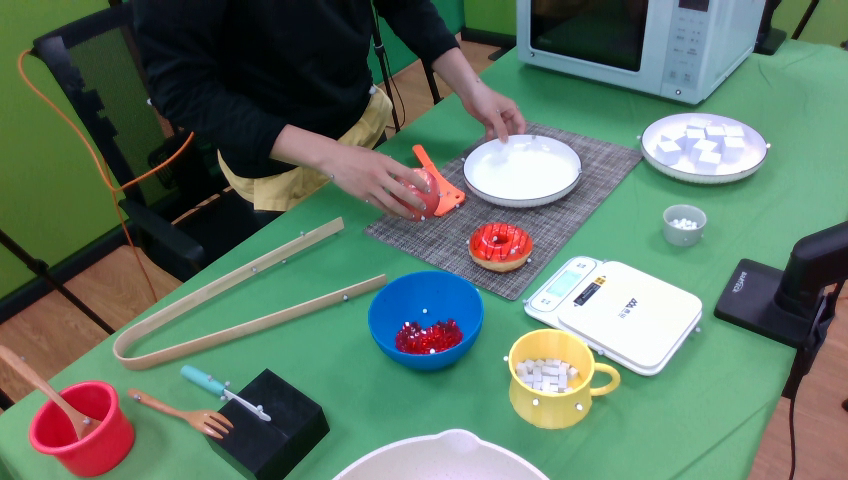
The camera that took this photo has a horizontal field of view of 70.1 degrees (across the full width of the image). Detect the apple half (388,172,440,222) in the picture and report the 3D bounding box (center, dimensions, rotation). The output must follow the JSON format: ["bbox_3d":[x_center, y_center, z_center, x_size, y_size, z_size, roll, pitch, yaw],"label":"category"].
[{"bbox_3d":[-0.013,-0.061,0.942,0.081,0.075,0.053,-7,47,-5],"label":"apple half"}]

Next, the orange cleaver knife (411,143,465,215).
[{"bbox_3d":[0.005,-0.113,1.102,0.077,0.012,0.209,-24,45,-9],"label":"orange cleaver knife"}]

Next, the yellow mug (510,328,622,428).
[{"bbox_3d":[0.168,0.164,0.722,0.130,0.064,0.099,0,40,8],"label":"yellow mug"}]

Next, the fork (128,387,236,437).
[{"bbox_3d":[-0.305,0.207,0.744,0.206,0.019,0.028,3,41,36],"label":"fork"}]

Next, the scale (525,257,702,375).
[{"bbox_3d":[0.254,0.091,0.821,0.199,0.032,0.149,28,51,35],"label":"scale"}]

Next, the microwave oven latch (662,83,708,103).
[{"bbox_3d":[0.517,-0.296,1.204,0.078,0.029,0.030,28,52,35],"label":"microwave oven latch"}]

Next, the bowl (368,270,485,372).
[{"bbox_3d":[0.007,0.118,0.791,0.151,0.077,0.150,-5,40,4],"label":"bowl"}]

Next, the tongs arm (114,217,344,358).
[{"bbox_3d":[-0.280,0.067,0.926,0.386,0.026,0.050,-29,49,-23],"label":"tongs arm"}]

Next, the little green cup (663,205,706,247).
[{"bbox_3d":[0.396,-0.020,0.926,0.061,0.039,0.061,-4,40,4],"label":"little green cup"}]

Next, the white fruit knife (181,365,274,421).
[{"bbox_3d":[-0.245,0.187,0.747,0.205,0.027,0.016,9,41,40],"label":"white fruit knife"}]

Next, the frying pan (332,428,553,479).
[{"bbox_3d":[-0.089,0.306,0.564,0.487,0.103,0.306,10,41,7],"label":"frying pan"}]

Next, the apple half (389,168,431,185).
[{"bbox_3d":[-0.019,-0.088,0.969,0.081,0.081,0.032,-9,48,-2],"label":"apple half"}]

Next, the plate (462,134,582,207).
[{"bbox_3d":[0.173,-0.119,1.070,0.209,0.038,0.208,-4,40,4],"label":"plate"}]

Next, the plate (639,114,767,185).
[{"bbox_3d":[0.489,-0.157,1.074,0.207,0.039,0.206,-4,40,4],"label":"plate"}]

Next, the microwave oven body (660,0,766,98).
[{"bbox_3d":[0.472,-0.513,1.317,0.438,0.261,0.327,26,51,34],"label":"microwave oven body"}]

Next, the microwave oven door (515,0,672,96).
[{"bbox_3d":[0.343,-0.455,1.259,0.353,0.245,0.039,26,51,33],"label":"microwave oven door"}]

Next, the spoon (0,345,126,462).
[{"bbox_3d":[-0.434,0.192,0.720,0.194,0.021,0.042,47,54,-7],"label":"spoon"}]

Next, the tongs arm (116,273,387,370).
[{"bbox_3d":[-0.236,0.115,0.870,0.389,0.028,0.028,-18,49,-13],"label":"tongs arm"}]

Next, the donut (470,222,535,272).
[{"bbox_3d":[0.119,0.009,0.923,0.099,0.048,0.098,-4,38,4],"label":"donut"}]
